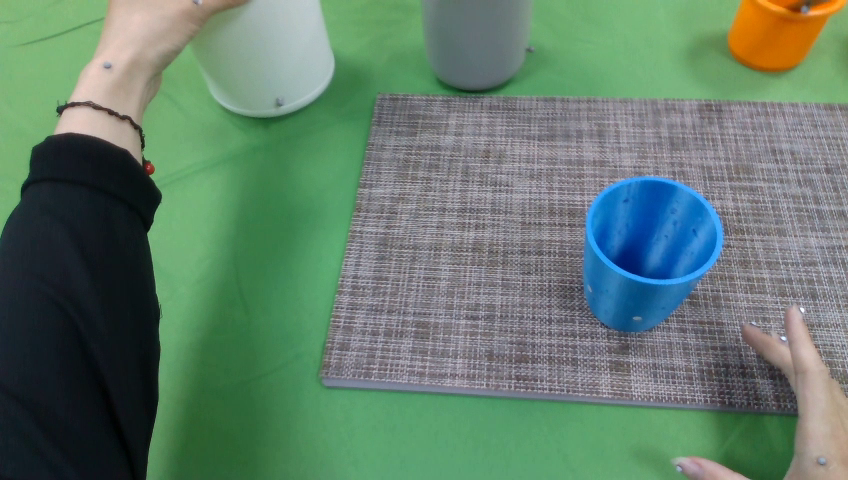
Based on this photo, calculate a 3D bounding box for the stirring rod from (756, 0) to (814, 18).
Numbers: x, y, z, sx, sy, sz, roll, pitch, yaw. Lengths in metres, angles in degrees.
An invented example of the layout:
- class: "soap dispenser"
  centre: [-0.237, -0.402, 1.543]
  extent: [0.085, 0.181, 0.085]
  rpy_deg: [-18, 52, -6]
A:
- class: "stirring rod"
  centre: [0.327, -0.212, 0.546]
  extent: [0.014, 0.006, 0.176]
  rpy_deg: [8, 16, 14]

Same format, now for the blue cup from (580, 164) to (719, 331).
- class: "blue cup"
  centre: [0.150, 0.017, 0.431]
  extent: [0.092, 0.101, 0.092]
  rpy_deg: [-3, 57, 5]

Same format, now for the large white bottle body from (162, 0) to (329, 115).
- class: "large white bottle body"
  centre: [-0.169, -0.223, 0.559]
  extent: [0.130, 0.186, 0.129]
  rpy_deg: [-2, 57, 3]

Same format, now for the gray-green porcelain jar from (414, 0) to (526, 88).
- class: "gray-green porcelain jar"
  centre: [0.044, -0.220, 0.578]
  extent: [0.106, 0.127, 0.105]
  rpy_deg: [-2, 58, 4]
